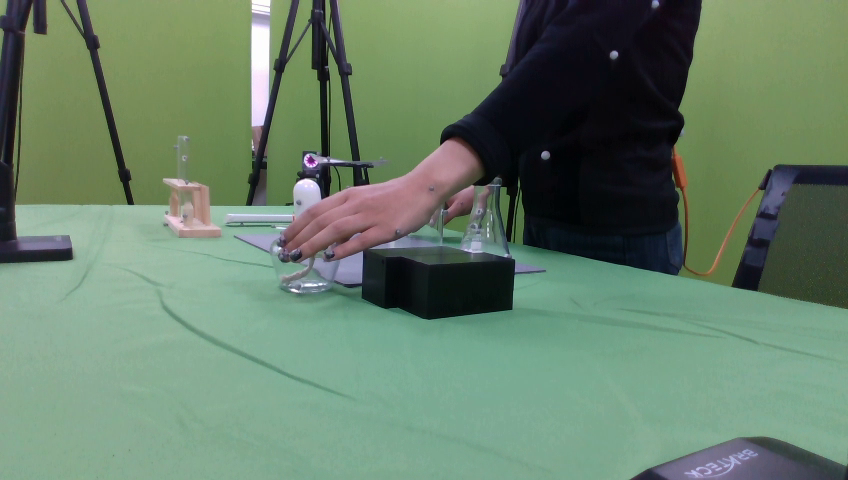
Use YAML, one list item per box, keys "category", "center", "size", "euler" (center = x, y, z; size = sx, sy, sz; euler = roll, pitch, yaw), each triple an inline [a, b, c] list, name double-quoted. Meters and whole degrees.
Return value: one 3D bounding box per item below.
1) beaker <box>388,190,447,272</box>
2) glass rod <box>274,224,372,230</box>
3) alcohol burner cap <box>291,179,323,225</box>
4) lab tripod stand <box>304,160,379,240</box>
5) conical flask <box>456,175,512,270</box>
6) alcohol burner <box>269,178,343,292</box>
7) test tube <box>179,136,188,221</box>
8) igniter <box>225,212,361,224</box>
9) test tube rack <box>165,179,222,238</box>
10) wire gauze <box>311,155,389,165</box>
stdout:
- category: "beaker"
  center: [-0.010, -0.013, 0.771]
  size: [0.074, 0.100, 0.084]
  euler: [3, 7, 4]
- category: "glass rod"
  center: [-0.193, -0.024, 1.176]
  size: [0.201, 0.008, 0.008]
  euler: [1, 6, -31]
- category: "alcohol burner cap"
  center: [-0.124, -0.040, 0.632]
  size: [0.034, 0.048, 0.034]
  euler: [-4, 9, 1]
- category: "lab tripod stand"
  center: [-0.131, -0.071, 1.046]
  size: [0.148, 0.131, 0.148]
  euler: [4, 7, 0]
- category: "conical flask"
  center: [0.082, -0.025, 0.801]
  size: [0.075, 0.122, 0.075]
  euler: [2, 7, 0]
- category: "alcohol burner"
  center: [-0.124, -0.005, 0.638]
  size: [0.078, 0.119, 0.078]
  euler: [4, 7, 0]
- category: "test tube"
  center: [-0.425, -0.108, 1.070]
  size: [0.017, 0.150, 0.017]
  euler: [4, 9, 0]
- category: "igniter"
  center: [-0.262, -0.044, 1.240]
  size: [0.278, 0.025, 0.057]
  euler: [-2, -1, -31]
- category: "test tube rack"
  center: [-0.423, -0.062, 1.098]
  size: [0.067, 0.085, 0.241]
  euler: [-2, 9, -28]
- category: "wire gauze"
  center: [-0.128, -0.137, 1.042]
  size: [0.122, 0.011, 0.124]
  euler: [1, 8, -18]
